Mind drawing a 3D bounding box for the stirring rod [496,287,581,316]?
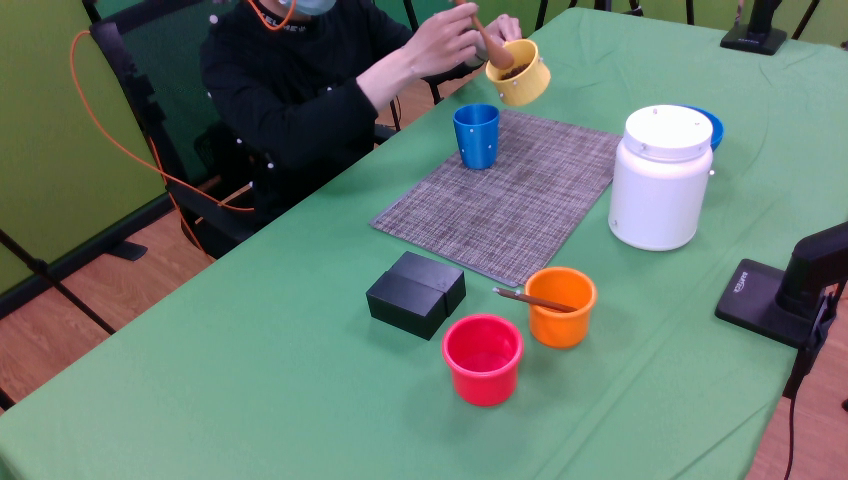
[{"bbox_3d":[0.150,0.080,0.773,0.178,0.006,0.014,17,21,-42],"label":"stirring rod"}]

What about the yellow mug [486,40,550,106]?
[{"bbox_3d":[0.168,-0.314,1.104,0.099,0.064,0.130,-25,48,19],"label":"yellow mug"}]

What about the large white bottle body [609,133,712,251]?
[{"bbox_3d":[0.351,-0.090,0.904,0.130,0.185,0.130,-5,41,4],"label":"large white bottle body"}]

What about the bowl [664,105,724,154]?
[{"bbox_3d":[0.438,-0.166,1.063,0.151,0.077,0.150,-4,41,4],"label":"bowl"}]

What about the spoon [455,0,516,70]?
[{"bbox_3d":[0.093,-0.356,1.015,0.041,0.195,0.021,-19,40,37],"label":"spoon"}]

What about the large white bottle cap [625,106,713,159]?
[{"bbox_3d":[0.342,-0.153,0.848,0.115,0.018,0.114,-4,41,4],"label":"large white bottle cap"}]

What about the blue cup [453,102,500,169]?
[{"bbox_3d":[0.100,-0.188,1.115,0.092,0.100,0.092,-4,39,4],"label":"blue cup"}]
